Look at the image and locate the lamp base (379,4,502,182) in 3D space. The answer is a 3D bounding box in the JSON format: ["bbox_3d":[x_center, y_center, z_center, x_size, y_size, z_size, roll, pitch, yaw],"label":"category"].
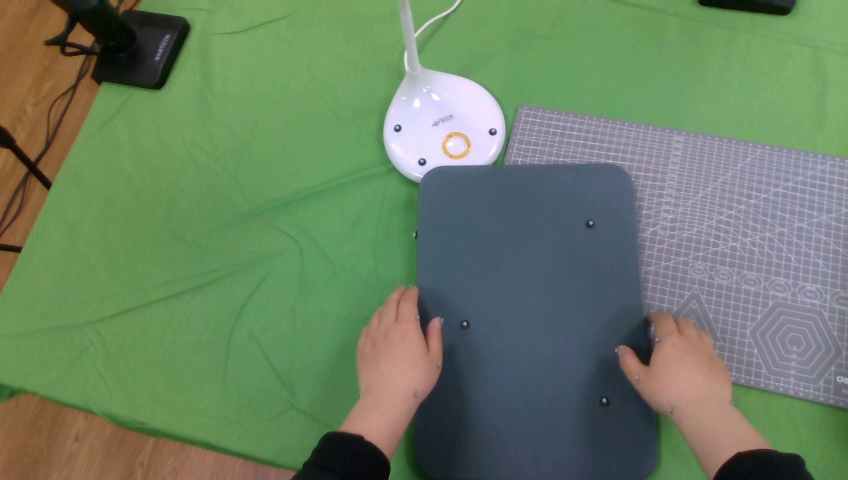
[{"bbox_3d":[0.004,-0.179,0.721,0.160,0.181,0.177,-36,68,-7],"label":"lamp base"}]

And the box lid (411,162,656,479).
[{"bbox_3d":[0.118,0.079,0.698,0.263,0.015,0.369,-1,73,4],"label":"box lid"}]
